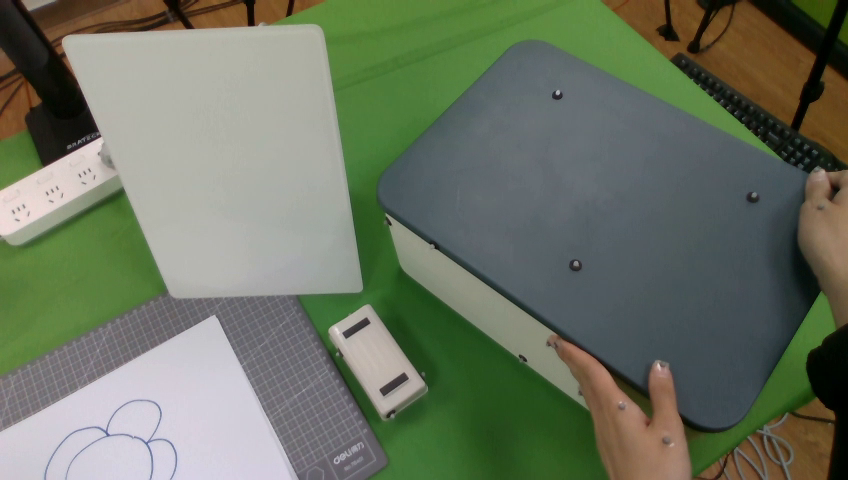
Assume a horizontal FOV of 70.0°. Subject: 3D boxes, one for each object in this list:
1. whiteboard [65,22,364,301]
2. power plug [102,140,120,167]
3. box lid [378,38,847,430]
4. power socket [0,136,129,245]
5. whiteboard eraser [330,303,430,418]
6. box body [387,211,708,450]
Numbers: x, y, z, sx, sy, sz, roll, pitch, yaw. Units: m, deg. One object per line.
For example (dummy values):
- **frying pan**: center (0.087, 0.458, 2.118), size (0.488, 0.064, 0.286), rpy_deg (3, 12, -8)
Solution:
- **whiteboard**: center (-0.179, -0.096, 0.639), size (0.217, 0.308, 0.142), rpy_deg (-1, 40, 2)
- **power plug**: center (-0.367, -0.092, 0.739), size (0.035, 0.053, 0.072), rpy_deg (-24, 69, -12)
- **box lid**: center (0.165, -0.037, 0.549), size (0.369, 0.015, 0.263), rpy_deg (35, 69, 20)
- **power socket**: center (-0.425, -0.074, 0.756), size (0.227, 0.033, 0.071), rpy_deg (-34, 66, -16)
- **whiteboard eraser**: center (-0.046, 0.124, 0.628), size (0.055, 0.042, 0.111), rpy_deg (-31, 64, -16)
- **box body**: center (0.170, 0.004, 0.617), size (0.361, 0.162, 0.253), rpy_deg (35, 67, 20)
